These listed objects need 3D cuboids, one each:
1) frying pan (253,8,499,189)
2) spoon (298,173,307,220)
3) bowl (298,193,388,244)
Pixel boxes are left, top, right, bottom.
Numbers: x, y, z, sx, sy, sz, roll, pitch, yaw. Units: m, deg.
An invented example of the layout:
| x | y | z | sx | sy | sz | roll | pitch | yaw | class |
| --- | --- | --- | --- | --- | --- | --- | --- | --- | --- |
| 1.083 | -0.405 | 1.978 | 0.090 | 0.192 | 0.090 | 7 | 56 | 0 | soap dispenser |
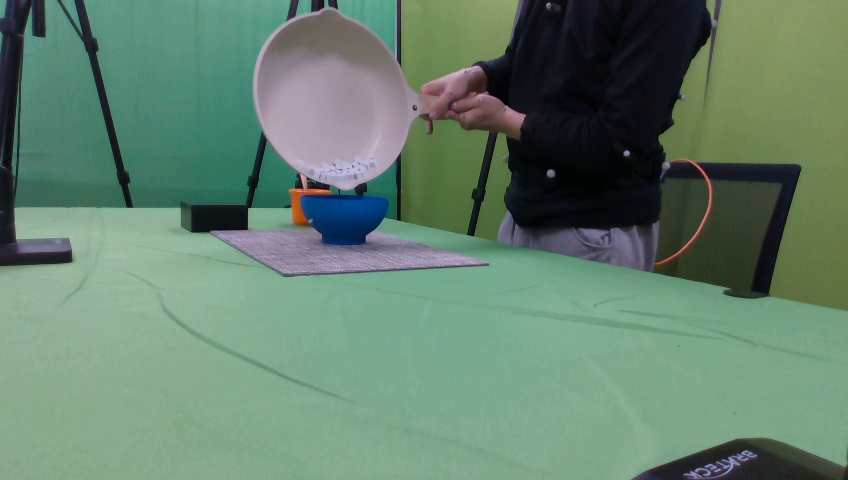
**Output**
| x | y | z | sx | sy | sz | roll | pitch | yaw | class |
| --- | --- | --- | --- | --- | --- | --- | --- | --- | --- |
| -0.069 | -0.248 | 1.100 | 0.490 | 0.306 | 0.102 | -5 | 4 | -26 | frying pan |
| -0.264 | -0.114 | 1.338 | 0.042 | 0.193 | 0.021 | 0 | -37 | -21 | spoon |
| -0.136 | -0.037 | 1.018 | 0.151 | 0.077 | 0.151 | 2 | 7 | 0 | bowl |
